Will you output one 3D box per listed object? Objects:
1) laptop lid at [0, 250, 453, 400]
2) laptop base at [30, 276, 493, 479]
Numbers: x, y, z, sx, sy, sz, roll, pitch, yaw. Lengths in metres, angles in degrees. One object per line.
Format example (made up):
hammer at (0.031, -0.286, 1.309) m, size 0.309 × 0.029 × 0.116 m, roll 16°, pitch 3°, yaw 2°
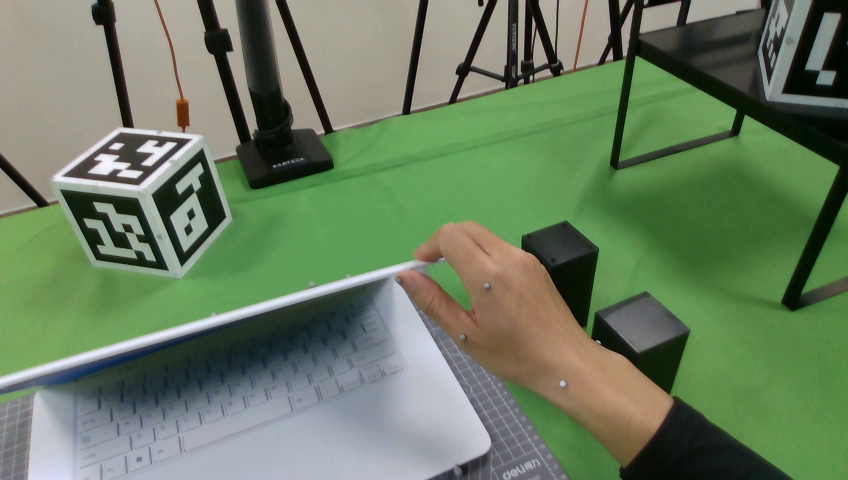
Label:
laptop lid at (-0.167, 0.068, 0.494) m, size 0.357 × 0.013 × 0.241 m, roll -17°, pitch -2°, yaw -14°
laptop base at (-0.147, 0.158, 0.526) m, size 0.355 × 0.023 × 0.232 m, roll -18°, pitch 43°, yaw -16°
